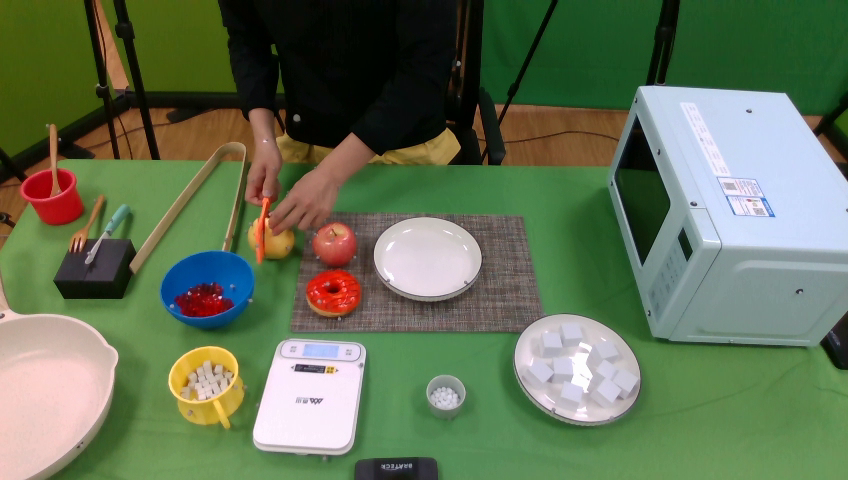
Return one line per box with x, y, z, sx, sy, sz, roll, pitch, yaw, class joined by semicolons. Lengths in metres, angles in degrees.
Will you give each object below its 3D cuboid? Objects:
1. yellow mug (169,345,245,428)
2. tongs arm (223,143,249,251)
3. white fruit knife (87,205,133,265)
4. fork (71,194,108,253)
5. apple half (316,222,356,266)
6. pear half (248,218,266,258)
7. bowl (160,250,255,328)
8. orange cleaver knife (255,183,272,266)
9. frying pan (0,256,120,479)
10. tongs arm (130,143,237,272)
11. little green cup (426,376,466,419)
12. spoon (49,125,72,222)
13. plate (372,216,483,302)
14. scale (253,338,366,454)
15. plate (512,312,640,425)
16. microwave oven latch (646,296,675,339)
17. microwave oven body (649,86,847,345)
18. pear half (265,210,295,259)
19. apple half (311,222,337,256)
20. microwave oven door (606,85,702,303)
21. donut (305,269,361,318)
-0.322;0.230;0.922;0.100;0.064;0.130;-24;53;-25;yellow mug
-0.397;-0.073;1.231;0.051;0.026;0.382;-1;45;-1;tongs arm
-0.584;-0.013;1.129;0.016;0.027;0.206;-1;32;-4;white fruit knife
-0.634;-0.036;1.158;0.028;0.019;0.206;-8;31;-8;fork
-0.156;0.015;1.132;0.053;0.075;0.080;28;48;18;apple half
-0.314;-0.005;1.137;0.031;0.088;0.070;-14;50;-5;pear half
-0.362;0.098;1.040;0.151;0.077;0.150;2;45;-2;bowl
-0.302;-0.035;1.146;0.012;0.077;0.210;-1;36;-6;orange cleaver knife
-0.647;0.164;0.936;0.307;0.103;0.485;-19;58;-22;frying pan
-0.482;-0.080;1.234;0.028;0.028;0.385;7;45;12;tongs arm
0.033;0.248;0.950;0.061;0.039;0.061;2;46;-2;little green cup
-0.718;-0.131;1.189;0.041;0.021;0.193;-3;90;-7;spoon
0.006;0.038;1.145;0.209;0.038;0.208;2;46;-2;plate
-0.175;0.236;0.951;0.149;0.032;0.199;4;45;0;scale
0.246;0.213;0.999;0.208;0.039;0.206;2;46;-2;plate
0.412;0.134;1.061;0.030;0.029;0.078;4;45;1;microwave oven latch
0.567;-0.053;1.118;0.326;0.261;0.439;2;45;-1;microwave oven body
-0.272;-0.015;1.133;0.056;0.110;0.076;-5;48;-11;pear half
-0.190;-0.001;1.143;0.032;0.081;0.081;28;51;17;apple half
0.422;-0.094;1.140;0.039;0.245;0.353;2;46;-1;microwave oven door
-0.161;0.095;1.075;0.099;0.048;0.098;3;45;-3;donut
